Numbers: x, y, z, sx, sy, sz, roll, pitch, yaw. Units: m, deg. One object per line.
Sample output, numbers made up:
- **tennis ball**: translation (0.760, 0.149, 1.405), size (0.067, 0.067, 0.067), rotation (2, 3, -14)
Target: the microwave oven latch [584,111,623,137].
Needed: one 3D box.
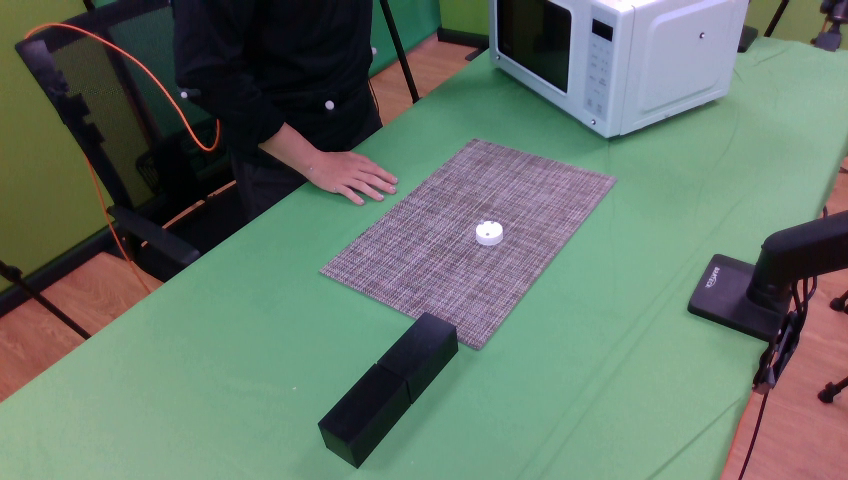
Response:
- **microwave oven latch**: translation (0.337, -0.222, 1.142), size (0.030, 0.029, 0.078), rotation (-21, 42, -14)

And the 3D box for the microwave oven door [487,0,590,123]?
- **microwave oven door**: translation (0.232, -0.420, 1.230), size (0.039, 0.245, 0.352), rotation (-22, 43, -16)

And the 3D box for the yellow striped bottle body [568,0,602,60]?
- **yellow striped bottle body**: translation (0.338, -0.448, 1.269), size (0.063, 0.121, 0.062), rotation (-4, 43, 4)

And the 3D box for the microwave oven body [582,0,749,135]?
- **microwave oven body**: translation (0.382, -0.444, 1.246), size (0.327, 0.261, 0.437), rotation (-22, 42, -16)

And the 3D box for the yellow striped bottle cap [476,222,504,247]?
- **yellow striped bottle cap**: translation (0.105, -0.010, 0.966), size (0.044, 0.019, 0.044), rotation (-4, 39, 3)
